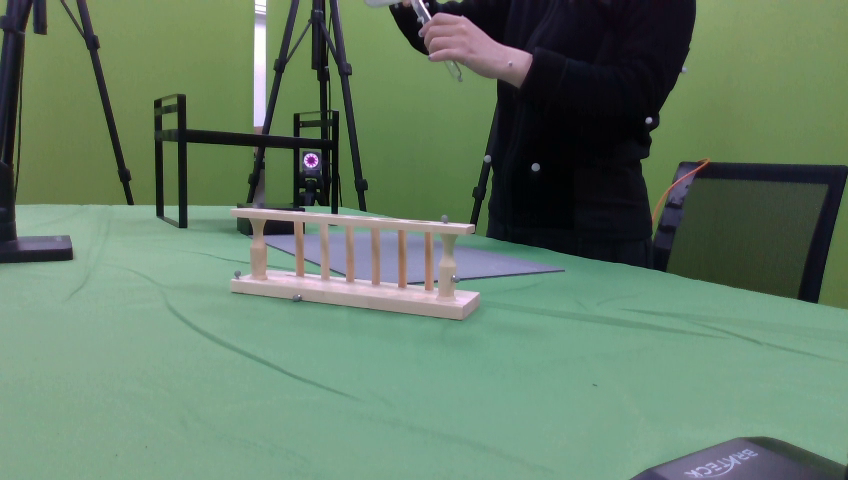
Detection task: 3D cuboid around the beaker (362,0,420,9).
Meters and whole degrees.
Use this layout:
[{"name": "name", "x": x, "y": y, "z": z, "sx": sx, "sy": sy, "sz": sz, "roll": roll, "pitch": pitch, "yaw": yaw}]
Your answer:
[{"name": "beaker", "x": -0.051, "y": -0.407, "z": 0.955, "sx": 0.100, "sy": 0.084, "sz": 0.074, "roll": 2, "pitch": 2, "yaw": 35}]

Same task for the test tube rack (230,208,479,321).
[{"name": "test tube rack", "x": -0.069, "y": 0.017, "z": 0.598, "sx": 0.242, "sy": 0.085, "sz": 0.067, "roll": 5, "pitch": 8, "yaw": 18}]

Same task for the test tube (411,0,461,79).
[{"name": "test tube", "x": 0.018, "y": -0.304, "z": 0.912, "sx": 0.017, "sy": 0.150, "sz": 0.017, "roll": -25, "pitch": -15, "yaw": -7}]
